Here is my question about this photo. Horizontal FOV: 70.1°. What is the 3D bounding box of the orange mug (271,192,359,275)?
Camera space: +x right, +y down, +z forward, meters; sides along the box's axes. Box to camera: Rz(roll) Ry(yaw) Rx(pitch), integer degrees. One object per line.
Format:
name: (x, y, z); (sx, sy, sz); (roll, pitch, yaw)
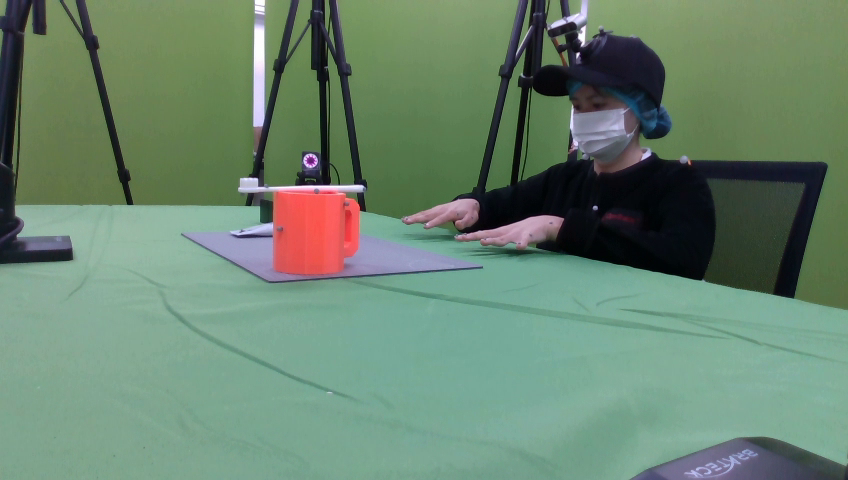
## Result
orange mug: (-0.131, -0.013, 0.754); (0.083, 0.101, 0.127); (8, 13, 38)

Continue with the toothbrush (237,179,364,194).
toothbrush: (-0.144, -0.064, 0.737); (0.014, 0.016, 0.183); (4, 6, 43)

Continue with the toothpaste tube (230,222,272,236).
toothpaste tube: (-0.250, -0.021, 1.056); (0.166, 0.034, 0.055); (-6, 5, -32)

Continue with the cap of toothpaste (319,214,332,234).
cap of toothpaste: (-0.180, -0.029, 1.097); (0.011, 0.037, 0.037); (-3, 10, -40)
